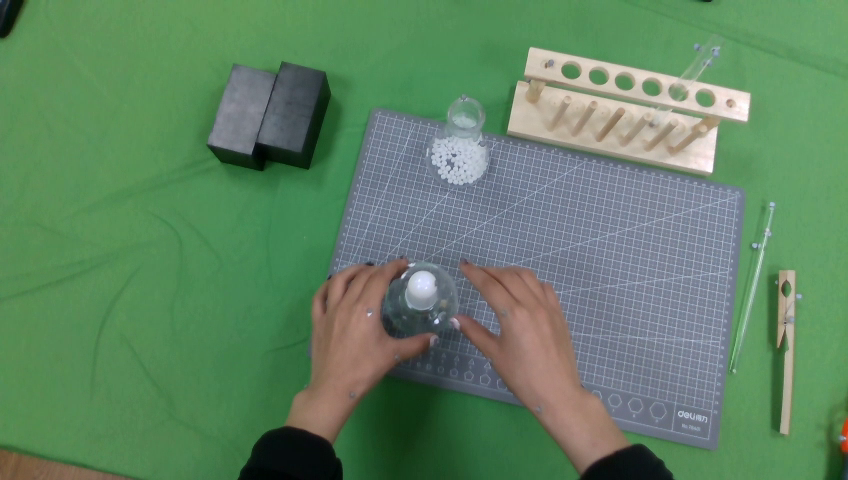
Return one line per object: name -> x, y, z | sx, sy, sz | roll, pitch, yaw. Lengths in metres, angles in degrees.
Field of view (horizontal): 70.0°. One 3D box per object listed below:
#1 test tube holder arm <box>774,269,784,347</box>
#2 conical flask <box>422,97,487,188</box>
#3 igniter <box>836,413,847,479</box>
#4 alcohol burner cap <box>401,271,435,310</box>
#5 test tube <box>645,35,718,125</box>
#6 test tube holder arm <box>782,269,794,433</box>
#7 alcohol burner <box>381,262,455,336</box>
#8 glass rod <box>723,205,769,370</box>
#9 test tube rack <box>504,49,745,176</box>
test tube holder arm -> 0.398, 0.076, 0.678 | 0.010, 0.015, 0.087 | -3, 74, 35
conical flask -> 0.037, -0.108, 0.651 | 0.075, 0.122, 0.075 | 0, 76, -2
igniter -> 0.477, 0.184, 0.650 | 0.057, 0.025, 0.275 | 23, 77, -7
alcohol burner cap -> -0.005, 0.046, 0.581 | 0.034, 0.048, 0.033 | 1, 68, -3
test tube -> 0.269, -0.164, 0.643 | 0.017, 0.151, 0.017 | 1, 71, -2
test tube holder arm -> 0.398, 0.120, 0.665 | 0.013, 0.015, 0.177 | -4, 73, 35
alcohol burner -> -0.006, 0.057, 0.616 | 0.078, 0.119, 0.077 | 0, 75, 0
glass rod -> 0.366, 0.052, 0.686 | 0.008, 0.008, 0.199 | 19, 79, 3
test tube rack -> 0.220, -0.142, 0.688 | 0.242, 0.085, 0.066 | 12, 77, 1
